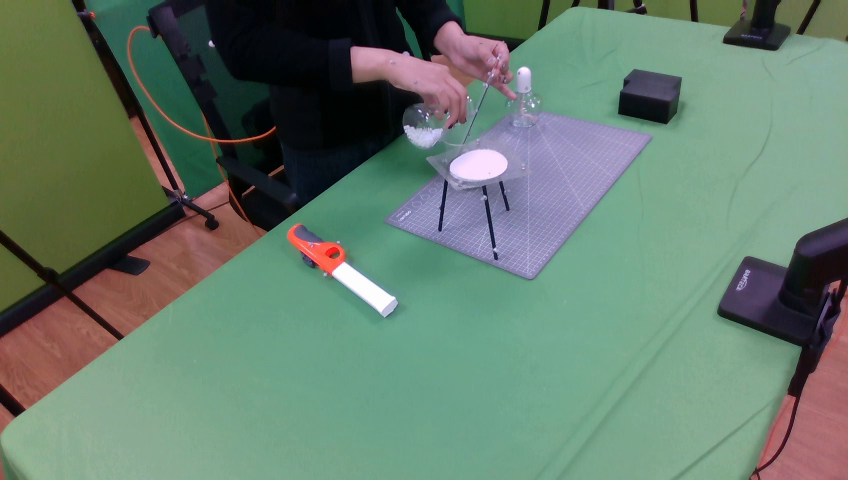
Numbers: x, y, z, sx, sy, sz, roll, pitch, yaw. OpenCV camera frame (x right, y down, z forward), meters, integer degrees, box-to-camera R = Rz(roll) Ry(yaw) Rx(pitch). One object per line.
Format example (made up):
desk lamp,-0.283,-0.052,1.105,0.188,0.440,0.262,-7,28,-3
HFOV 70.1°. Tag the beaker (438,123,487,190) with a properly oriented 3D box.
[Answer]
beaker,0.072,-0.147,1.080,0.084,0.101,0.073,-5,40,7

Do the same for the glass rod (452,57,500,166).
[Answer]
glass rod,0.085,-0.216,1.032,0.008,0.199,0.008,21,22,-8

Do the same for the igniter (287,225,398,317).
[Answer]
igniter,-0.139,0.041,0.957,0.057,0.025,0.274,-42,49,-19

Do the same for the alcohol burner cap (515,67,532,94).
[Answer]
alcohol burner cap,0.197,-0.315,1.187,0.034,0.048,0.033,-3,46,3

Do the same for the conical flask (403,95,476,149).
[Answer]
conical flask,0.031,-0.202,0.986,0.122,0.075,0.074,-31,44,-32

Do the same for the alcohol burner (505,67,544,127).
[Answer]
alcohol burner,0.201,-0.288,1.211,0.078,0.119,0.077,-6,38,5

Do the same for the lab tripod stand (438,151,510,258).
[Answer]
lab tripod stand,0.087,-0.064,0.952,0.148,0.132,0.147,-6,38,5

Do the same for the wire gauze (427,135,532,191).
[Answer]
wire gauze,0.081,-0.115,0.909,0.125,0.011,0.120,-18,39,-11
